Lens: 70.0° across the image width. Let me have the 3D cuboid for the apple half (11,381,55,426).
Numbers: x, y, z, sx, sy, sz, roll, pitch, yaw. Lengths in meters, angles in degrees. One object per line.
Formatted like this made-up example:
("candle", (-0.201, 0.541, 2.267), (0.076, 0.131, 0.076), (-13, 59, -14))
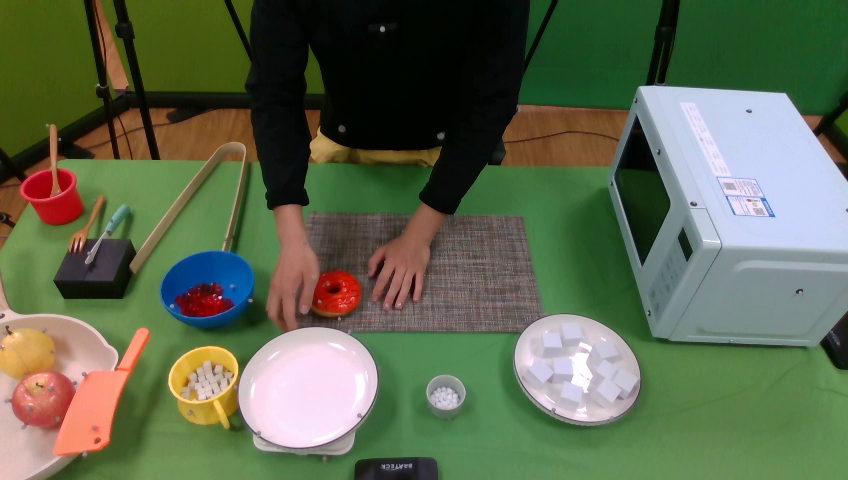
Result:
("apple half", (-0.570, 0.246, 0.875), (0.081, 0.081, 0.033), (32, 49, 24))

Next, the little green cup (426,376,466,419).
("little green cup", (0.033, 0.248, 0.950), (0.061, 0.039, 0.061), (2, 46, -2))

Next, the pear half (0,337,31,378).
("pear half", (-0.631, 0.183, 0.923), (0.070, 0.088, 0.031), (28, 50, 14))

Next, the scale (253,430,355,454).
("scale", (-0.175, 0.236, 0.951), (0.149, 0.032, 0.199), (4, 45, 0))

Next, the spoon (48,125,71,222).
("spoon", (-0.719, -0.131, 1.188), (0.041, 0.021, 0.193), (-3, 90, -7))

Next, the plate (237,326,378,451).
("plate", (-0.174, 0.224, 0.917), (0.209, 0.038, 0.208), (2, 46, -2))

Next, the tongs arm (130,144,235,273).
("tongs arm", (-0.484, -0.077, 1.234), (0.028, 0.028, 0.385), (6, 44, 12))

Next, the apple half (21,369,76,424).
("apple half", (-0.546, 0.226, 0.898), (0.080, 0.075, 0.053), (30, 48, 27))

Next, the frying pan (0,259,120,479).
("frying pan", (-0.647, 0.164, 0.936), (0.307, 0.103, 0.485), (-19, 58, -22))

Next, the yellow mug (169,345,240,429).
("yellow mug", (-0.323, 0.230, 0.922), (0.100, 0.064, 0.130), (-24, 53, -25))

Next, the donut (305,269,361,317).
("donut", (-0.160, 0.094, 1.075), (0.099, 0.048, 0.098), (4, 45, -3))

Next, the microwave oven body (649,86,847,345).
("microwave oven body", (0.567, -0.053, 1.118), (0.326, 0.261, 0.439), (2, 45, -1))

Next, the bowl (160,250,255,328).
("bowl", (-0.362, 0.098, 1.040), (0.151, 0.077, 0.150), (2, 45, -2))

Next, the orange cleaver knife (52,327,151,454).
("orange cleaver knife", (-0.462, 0.212, 0.879), (0.077, 0.012, 0.210), (7, 45, -2))

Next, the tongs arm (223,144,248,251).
("tongs arm", (-0.398, -0.073, 1.232), (0.051, 0.026, 0.382), (-2, 45, -1))

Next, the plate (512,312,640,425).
("plate", (0.246, 0.213, 0.999), (0.208, 0.039, 0.206), (2, 46, -2))

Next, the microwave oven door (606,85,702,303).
("microwave oven door", (0.422, -0.094, 1.140), (0.039, 0.245, 0.353), (2, 46, -1))

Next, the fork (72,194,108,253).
("fork", (-0.634, -0.036, 1.158), (0.028, 0.019, 0.206), (-8, 32, -8))

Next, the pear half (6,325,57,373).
("pear half", (-0.607, 0.158, 0.935), (0.076, 0.110, 0.056), (30, 51, 19))

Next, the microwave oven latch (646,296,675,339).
("microwave oven latch", (0.412, 0.134, 1.061), (0.030, 0.029, 0.078), (4, 45, 1))

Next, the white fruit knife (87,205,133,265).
("white fruit knife", (-0.584, -0.013, 1.129), (0.016, 0.027, 0.206), (0, 31, -5))
